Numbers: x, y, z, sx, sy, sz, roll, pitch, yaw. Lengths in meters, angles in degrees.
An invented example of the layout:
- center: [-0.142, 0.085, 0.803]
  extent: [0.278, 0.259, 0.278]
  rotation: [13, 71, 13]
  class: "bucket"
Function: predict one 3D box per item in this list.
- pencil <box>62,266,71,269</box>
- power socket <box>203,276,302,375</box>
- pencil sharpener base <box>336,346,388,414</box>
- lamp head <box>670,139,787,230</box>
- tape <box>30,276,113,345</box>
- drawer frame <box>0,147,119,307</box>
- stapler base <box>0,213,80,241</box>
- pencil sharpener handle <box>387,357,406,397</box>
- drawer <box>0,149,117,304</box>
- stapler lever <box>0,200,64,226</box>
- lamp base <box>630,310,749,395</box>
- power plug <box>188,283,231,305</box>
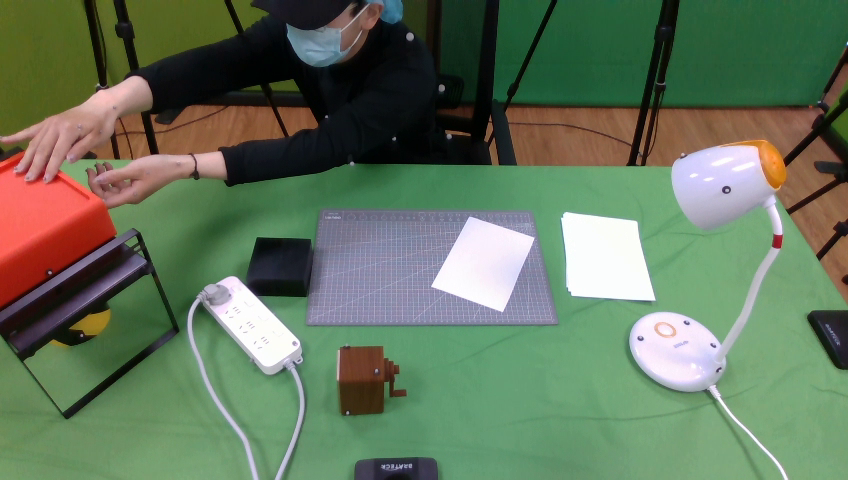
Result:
- center: [-0.606, 0.024, 0.877]
  extent: [0.194, 0.012, 0.012]
  rotation: [10, 46, -1]
  class: "pencil"
- center: [-0.297, 0.141, 1.034]
  extent: [0.072, 0.033, 0.225]
  rotation: [-34, 58, -30]
  class: "power socket"
- center: [-0.094, 0.215, 0.927]
  extent: [0.077, 0.107, 0.061]
  rotation: [-1, 46, -6]
  class: "pencil sharpener base"
- center: [0.415, -0.079, 0.812]
  extent: [0.113, 0.123, 0.112]
  rotation: [12, 70, -37]
  class: "lamp head"
- center: [-0.594, 0.117, 1.022]
  extent: [0.117, 0.053, 0.116]
  rotation: [3, 45, -2]
  class: "tape"
- center: [-0.604, -0.020, 0.882]
  extent: [0.201, 0.083, 0.213]
  rotation: [29, 52, 21]
  class: "drawer frame"
- center: [-0.592, -0.024, 0.921]
  extent: [0.130, 0.024, 0.041]
  rotation: [4, 41, 10]
  class: "stapler base"
- center: [-0.041, 0.209, 0.919]
  extent: [0.031, 0.068, 0.036]
  rotation: [-1, 25, -6]
  class: "pencil sharpener handle"
- center: [-0.604, -0.021, 0.885]
  extent: [0.194, 0.073, 0.211]
  rotation: [30, 52, 22]
  class: "drawer"
- center: [-0.595, -0.042, 0.904]
  extent: [0.118, 0.040, 0.026]
  rotation: [4, 41, 10]
  class: "stapler lever"
- center: [0.447, 0.142, 0.984]
  extent: [0.161, 0.181, 0.178]
  rotation: [-24, 55, -24]
  class: "lamp base"
- center: [-0.368, 0.099, 1.037]
  extent: [0.072, 0.053, 0.035]
  rotation: [-24, 52, -25]
  class: "power plug"
